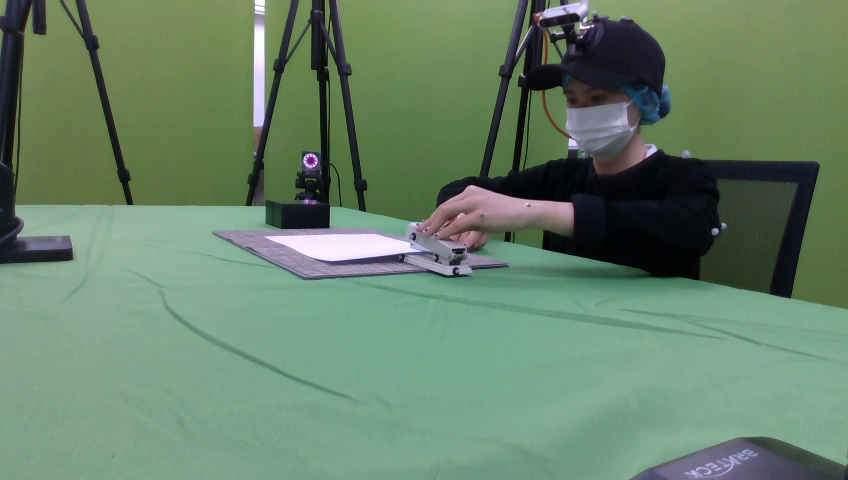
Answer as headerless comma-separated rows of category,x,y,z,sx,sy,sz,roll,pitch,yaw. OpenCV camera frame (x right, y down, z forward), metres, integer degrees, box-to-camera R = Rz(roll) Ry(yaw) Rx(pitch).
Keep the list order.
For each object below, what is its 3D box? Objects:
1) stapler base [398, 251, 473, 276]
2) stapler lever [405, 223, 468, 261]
stapler base,0.012,0.024,0.797,0.041,0.024,0.130,-5,12,-33
stapler lever,0.014,0.001,0.793,0.027,0.040,0.117,-5,9,-33
